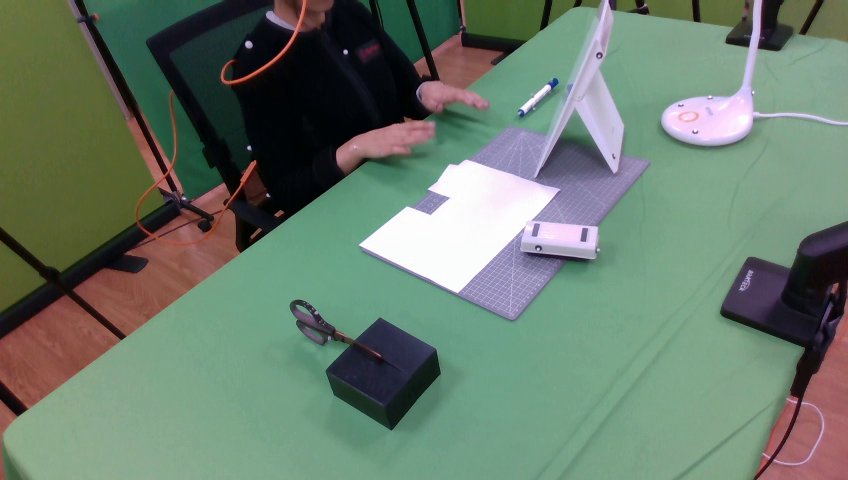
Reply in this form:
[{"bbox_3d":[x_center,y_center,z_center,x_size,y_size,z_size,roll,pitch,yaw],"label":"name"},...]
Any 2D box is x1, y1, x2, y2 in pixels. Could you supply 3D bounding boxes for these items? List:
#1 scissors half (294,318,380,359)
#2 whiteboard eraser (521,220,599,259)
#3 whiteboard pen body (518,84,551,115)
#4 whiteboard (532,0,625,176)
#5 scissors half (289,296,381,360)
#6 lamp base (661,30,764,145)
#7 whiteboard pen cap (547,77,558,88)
[{"bbox_3d":[-0.118,0.135,0.809,0.173,0.040,0.013,9,37,44],"label":"scissors half"},{"bbox_3d":[0.208,0.001,0.922,0.112,0.042,0.055,6,41,17],"label":"whiteboard eraser"},{"bbox_3d":[0.242,-0.306,1.289,0.017,0.017,0.141,24,52,33],"label":"whiteboard pen body"},{"bbox_3d":[0.320,-0.259,1.050,0.144,0.306,0.217,21,45,5],"label":"whiteboard"},{"bbox_3d":[-0.120,0.117,0.798,0.174,0.040,0.013,27,42,31],"label":"scissors half"},{"bbox_3d":[0.535,-0.287,1.096,0.179,0.181,0.159,-10,40,-4],"label":"lamp base"},{"bbox_3d":[0.279,-0.341,1.321,0.018,0.018,0.033,22,52,31],"label":"whiteboard pen cap"}]
